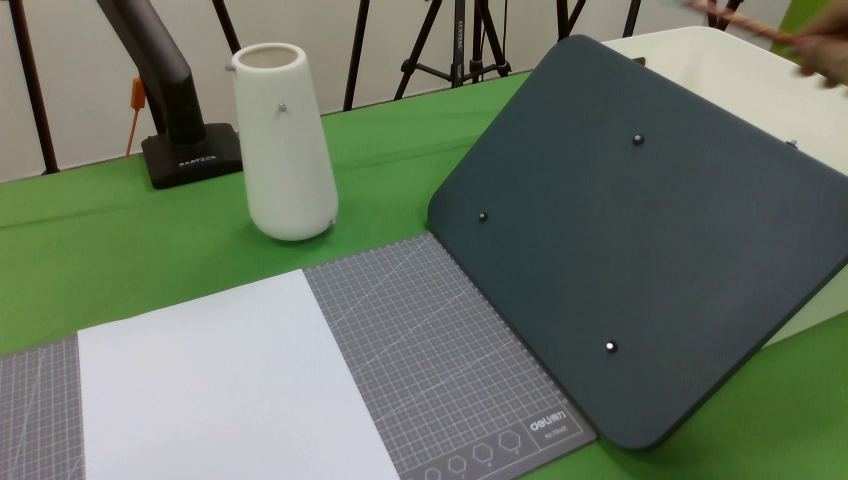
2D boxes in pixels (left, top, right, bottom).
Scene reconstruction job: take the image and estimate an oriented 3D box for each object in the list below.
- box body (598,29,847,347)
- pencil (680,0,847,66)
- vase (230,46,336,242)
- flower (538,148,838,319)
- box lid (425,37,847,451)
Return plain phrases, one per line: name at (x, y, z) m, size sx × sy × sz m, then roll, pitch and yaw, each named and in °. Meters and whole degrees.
box body at (0.314, -0.077, 0.651) m, size 0.255 × 0.162 × 0.359 m, roll -17°, pitch 42°, yaw -20°
pencil at (0.254, -0.148, 0.431) m, size 0.012 × 0.012 × 0.192 m, roll -28°, pitch 53°, yaw -31°
vase at (-0.149, -0.095, 0.638) m, size 0.098 × 0.202 × 0.097 m, roll -1°, pitch 38°, yaw 1°
flower at (0.281, -0.015, 0.685) m, size 0.358 × 0.038 × 0.044 m, roll 35°, pitch 14°, yaw 28°
box lid at (0.159, -0.024, 0.558) m, size 0.015 × 0.263 × 0.367 m, roll 27°, pitch 17°, yaw -44°
